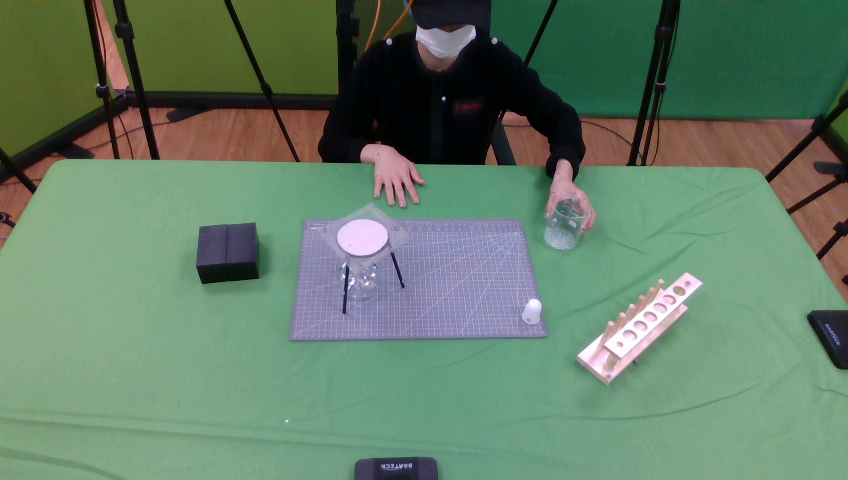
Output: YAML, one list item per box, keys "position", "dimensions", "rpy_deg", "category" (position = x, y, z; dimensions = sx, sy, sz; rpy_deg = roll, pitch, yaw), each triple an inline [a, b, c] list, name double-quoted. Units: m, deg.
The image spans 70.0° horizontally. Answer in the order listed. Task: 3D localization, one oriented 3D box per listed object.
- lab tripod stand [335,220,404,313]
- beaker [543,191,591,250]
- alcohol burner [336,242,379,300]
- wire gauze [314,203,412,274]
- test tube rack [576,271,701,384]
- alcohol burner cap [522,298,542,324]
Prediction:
- position: [-0.110, 0.039, 1.070]
  dimensions: [0.148, 0.132, 0.147]
  rpy_deg: [1, 46, -1]
  category: "lab tripod stand"
- position: [0.281, -0.034, 1.198]
  dimensions: [0.083, 0.101, 0.074]
  rpy_deg: [29, 51, 21]
  category: "beaker"
- position: [-0.118, 0.050, 1.072]
  dimensions: [0.078, 0.120, 0.077]
  rpy_deg: [2, 44, -1]
  category: "alcohol burner"
- position: [-0.103, -0.009, 1.023]
  dimensions: [0.121, 0.011, 0.124]
  rpy_deg: [-29, 53, -27]
  category: "wire gauze"
- position: [0.373, 0.138, 1.047]
  dimensions: [0.242, 0.085, 0.066]
  rpy_deg: [-31, 56, -29]
  category: "test tube rack"
- position: [0.193, 0.124, 1.074]
  dimensions: [0.034, 0.048, 0.033]
  rpy_deg: [1, 46, -1]
  category: "alcohol burner cap"
